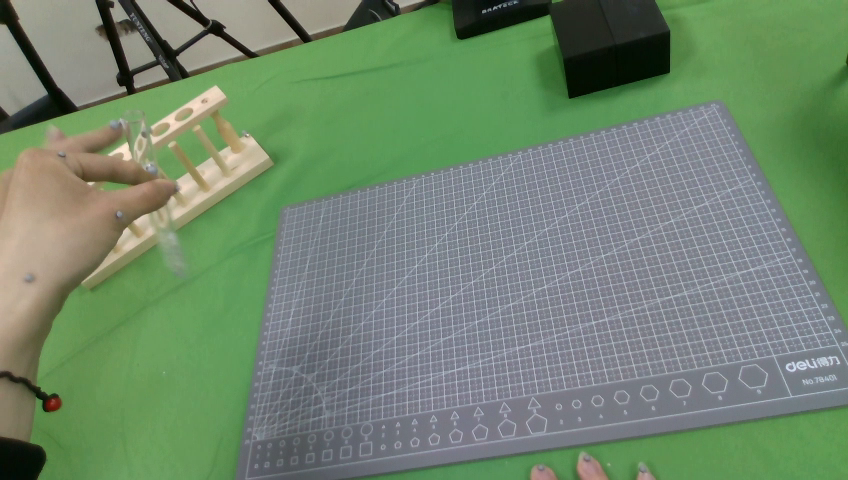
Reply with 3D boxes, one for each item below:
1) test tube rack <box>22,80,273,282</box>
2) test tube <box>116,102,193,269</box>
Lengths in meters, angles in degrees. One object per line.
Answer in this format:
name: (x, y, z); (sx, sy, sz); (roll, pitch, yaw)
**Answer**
test tube rack: (-0.300, -0.067, 0.671); (0.242, 0.086, 0.066); (-36, 50, -10)
test tube: (-0.195, -0.033, 0.447); (0.017, 0.151, 0.017); (1, 44, -1)
